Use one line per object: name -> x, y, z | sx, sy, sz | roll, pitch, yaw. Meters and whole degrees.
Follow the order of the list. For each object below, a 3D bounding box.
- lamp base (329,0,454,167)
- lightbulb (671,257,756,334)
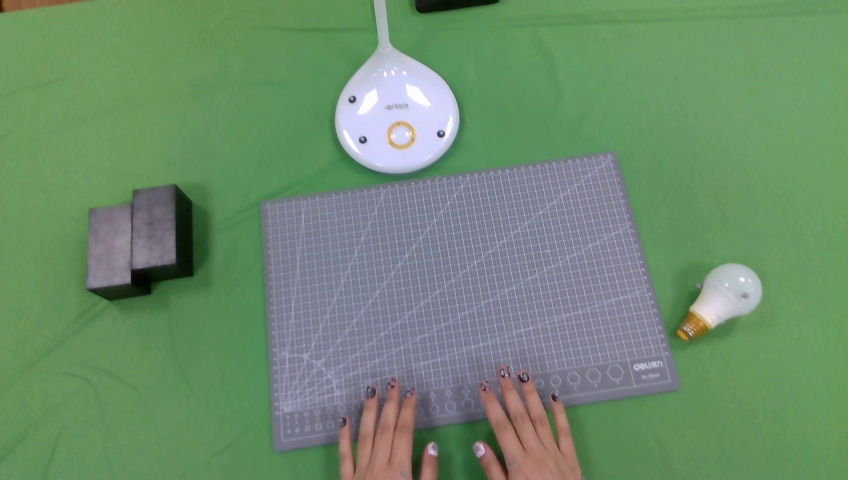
lamp base -> -0.048, -0.203, 0.708 | 0.161, 0.181, 0.178 | -16, 69, -5
lightbulb -> 0.322, 0.066, 0.682 | 0.107, 0.060, 0.059 | -44, 75, 3
